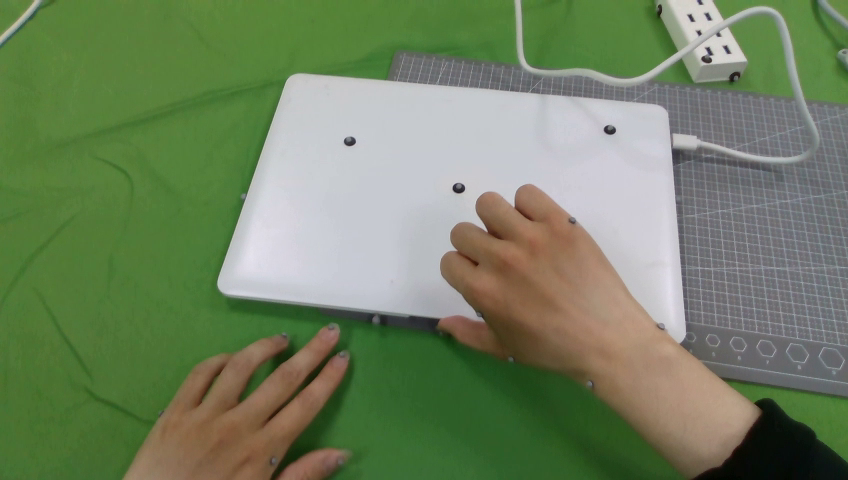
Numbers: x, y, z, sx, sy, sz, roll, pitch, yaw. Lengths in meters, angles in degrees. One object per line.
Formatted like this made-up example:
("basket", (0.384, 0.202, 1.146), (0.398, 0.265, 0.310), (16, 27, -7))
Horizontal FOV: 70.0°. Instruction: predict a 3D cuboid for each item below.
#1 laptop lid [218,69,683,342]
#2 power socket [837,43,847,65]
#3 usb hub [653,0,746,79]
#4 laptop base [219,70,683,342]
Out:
("laptop lid", (0.029, -0.044, 0.503), (0.356, 0.013, 0.240), (7, 61, 5))
("power socket", (0.501, -0.132, 0.563), (0.072, 0.033, 0.224), (-28, 62, -17))
("usb hub", (0.278, -0.218, 0.620), (0.049, 0.025, 0.124), (-6, 58, -4))
("laptop base", (0.029, -0.040, 0.514), (0.354, 0.023, 0.233), (6, 62, 4))
